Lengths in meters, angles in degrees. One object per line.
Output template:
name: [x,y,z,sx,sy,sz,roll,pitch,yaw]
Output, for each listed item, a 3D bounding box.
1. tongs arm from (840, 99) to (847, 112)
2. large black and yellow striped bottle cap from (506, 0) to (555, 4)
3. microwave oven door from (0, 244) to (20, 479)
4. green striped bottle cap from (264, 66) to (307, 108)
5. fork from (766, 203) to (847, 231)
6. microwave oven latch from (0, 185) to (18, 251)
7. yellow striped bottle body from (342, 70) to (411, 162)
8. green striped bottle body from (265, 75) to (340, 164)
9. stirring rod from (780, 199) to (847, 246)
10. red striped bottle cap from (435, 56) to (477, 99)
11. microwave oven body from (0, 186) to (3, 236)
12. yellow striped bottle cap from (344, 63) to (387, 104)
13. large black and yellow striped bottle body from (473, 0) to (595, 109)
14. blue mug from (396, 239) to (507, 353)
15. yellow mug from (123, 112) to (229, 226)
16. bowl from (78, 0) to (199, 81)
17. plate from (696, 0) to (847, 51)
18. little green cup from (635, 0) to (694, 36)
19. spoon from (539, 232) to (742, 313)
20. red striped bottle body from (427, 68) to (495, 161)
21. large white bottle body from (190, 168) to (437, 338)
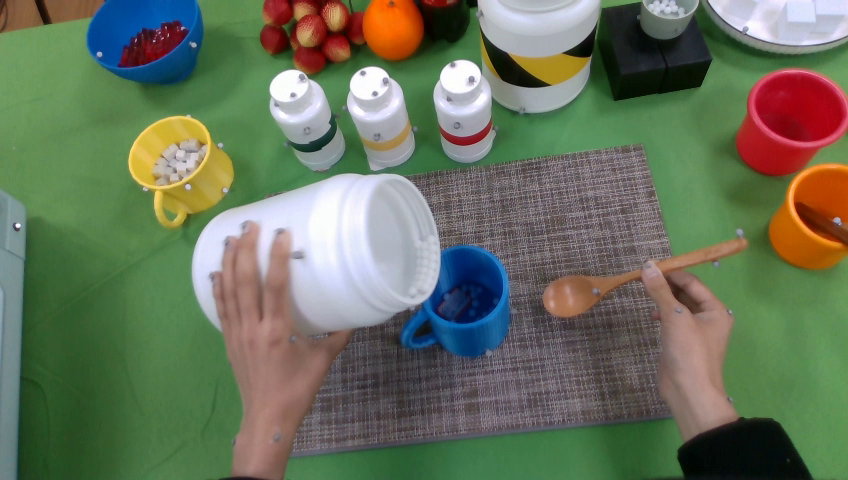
tongs arm: [0.610,-0.044,0.605,0.051,0.027,0.382,-40,68,-14]
large black and yellow striped bottle cap: [0.110,-0.283,0.597,0.115,0.019,0.114,-4,68,9]
microwave oven door: [-0.464,0.128,0.536,0.039,0.246,0.352,-16,66,1]
green striped bottle cap: [-0.149,-0.164,0.651,0.044,0.020,0.044,-2,65,5]
fork: [0.413,-0.010,0.553,0.028,0.019,0.205,-45,24,-11]
microwave oven latch: [-0.503,-0.024,0.718,0.030,0.030,0.078,-14,66,1]
yellow striped bottle body: [-0.054,-0.145,0.688,0.063,0.121,0.062,-3,66,7]
green striped bottle body: [-0.141,-0.143,0.699,0.063,0.120,0.062,-3,66,6]
stirring rod: [0.383,-0.007,0.564,0.014,0.006,0.175,-5,23,3]
red striped bottle cap: [0.033,-0.169,0.629,0.044,0.018,0.044,-1,65,3]
microwave oven body: [-0.614,0.133,0.559,0.326,0.262,0.438,-16,66,0]
yellow striped bottle cap: [-0.062,-0.166,0.640,0.044,0.019,0.044,-1,63,2]
large black and yellow striped bottle body: [0.120,-0.250,0.676,0.130,0.185,0.130,-3,66,7]
blue mug: [0.025,0.066,0.590,0.116,0.107,0.081,-31,66,-7]
yellow mug: [-0.297,-0.079,0.721,0.100,0.064,0.130,2,68,8]
bowl: [-0.360,-0.266,0.803,0.151,0.077,0.150,-2,67,6]
plate: [0.434,-0.312,0.743,0.209,0.038,0.207,-3,67,6]
little green cup: [0.270,-0.264,0.687,0.061,0.039,0.061,-2,64,4]
spoon: [0.192,0.029,0.561,0.193,0.022,0.041,-24,61,38]
red striped bottle body: [0.041,-0.146,0.678,0.063,0.121,0.062,-6,62,12]
large white bottle body: [-0.093,0.012,0.527,0.184,0.132,0.129,-13,63,30]
